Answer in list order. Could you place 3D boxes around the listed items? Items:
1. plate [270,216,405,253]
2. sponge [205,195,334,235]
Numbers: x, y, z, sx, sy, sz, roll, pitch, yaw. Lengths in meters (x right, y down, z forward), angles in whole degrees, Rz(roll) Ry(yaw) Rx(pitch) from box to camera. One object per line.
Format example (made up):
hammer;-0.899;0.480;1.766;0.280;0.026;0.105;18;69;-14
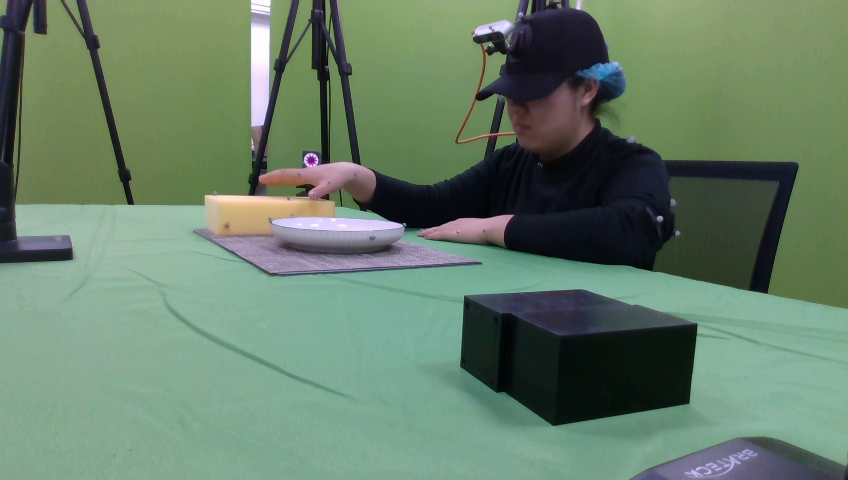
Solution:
plate;-0.134;-0.009;0.946;0.208;0.039;0.207;3;7;0
sponge;-0.280;-0.047;1.097;0.208;0.061;0.117;-2;9;-30
